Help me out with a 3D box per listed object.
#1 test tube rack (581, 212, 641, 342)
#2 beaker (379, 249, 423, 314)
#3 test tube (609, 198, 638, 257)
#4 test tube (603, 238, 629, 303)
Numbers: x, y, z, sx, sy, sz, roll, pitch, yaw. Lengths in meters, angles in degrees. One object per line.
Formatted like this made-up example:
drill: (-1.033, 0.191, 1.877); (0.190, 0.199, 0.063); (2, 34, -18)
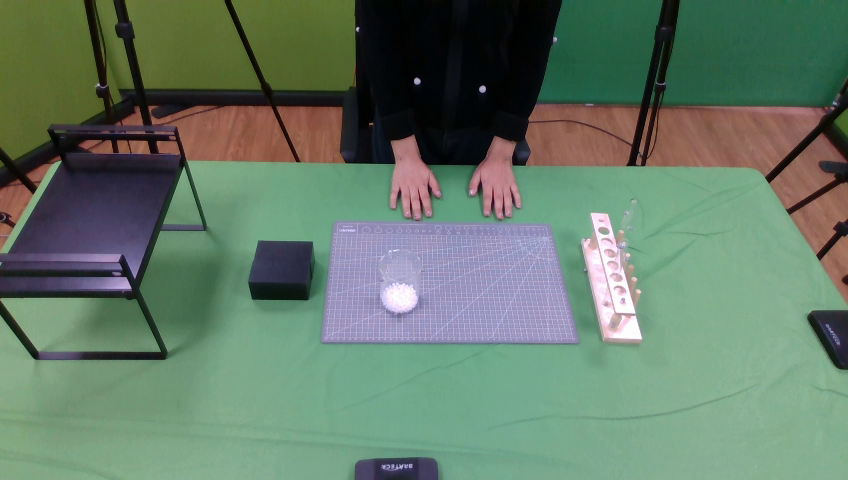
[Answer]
test tube rack: (0.351, 0.063, 1.121); (0.067, 0.085, 0.241); (2, 46, -1)
beaker: (-0.044, 0.074, 1.066); (0.074, 0.101, 0.083); (-22, 51, -23)
test tube: (0.375, -0.021, 1.141); (0.017, 0.151, 0.017); (2, 45, -2)
test tube: (0.334, 0.056, 1.058); (0.017, 0.151, 0.017); (0, 41, 0)
